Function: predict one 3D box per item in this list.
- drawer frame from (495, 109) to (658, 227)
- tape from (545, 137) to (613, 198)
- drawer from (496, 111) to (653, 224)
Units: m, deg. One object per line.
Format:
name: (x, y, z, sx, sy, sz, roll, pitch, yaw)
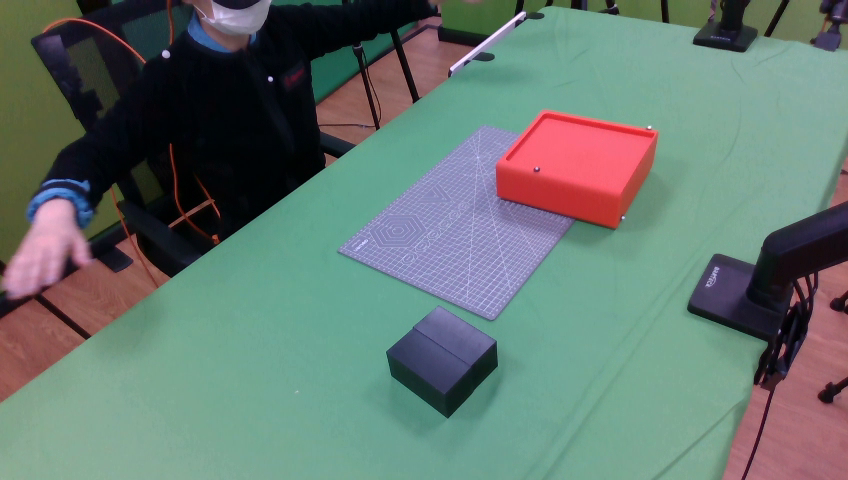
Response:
drawer frame: (0.260, -0.130, 1.031, 0.212, 0.083, 0.202, 18, 46, 26)
tape: (0.263, -0.124, 1.034, 0.117, 0.053, 0.116, -5, 40, 5)
drawer: (0.257, -0.130, 1.032, 0.210, 0.073, 0.195, 18, 46, 26)
